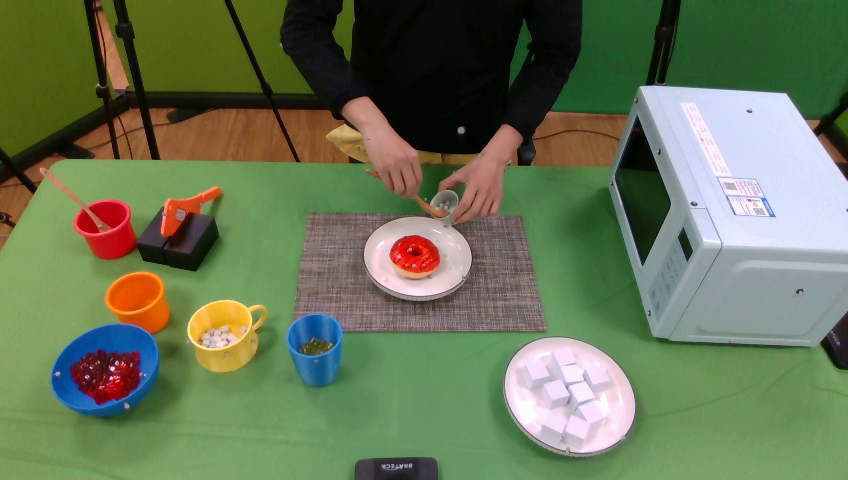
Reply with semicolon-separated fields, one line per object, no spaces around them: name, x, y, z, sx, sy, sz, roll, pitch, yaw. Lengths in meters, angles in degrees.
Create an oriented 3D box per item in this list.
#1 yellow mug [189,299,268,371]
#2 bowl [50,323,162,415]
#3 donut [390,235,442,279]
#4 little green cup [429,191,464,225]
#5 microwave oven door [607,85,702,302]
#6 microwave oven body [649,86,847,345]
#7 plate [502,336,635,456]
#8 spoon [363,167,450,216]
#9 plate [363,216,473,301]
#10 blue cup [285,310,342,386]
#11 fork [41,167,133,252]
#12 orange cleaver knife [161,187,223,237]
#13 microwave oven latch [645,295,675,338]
yellow mug;-0.316;0.148;1.002;0.131;0.064;0.099;-32;56;-31
bowl;-0.472;0.209;0.924;0.151;0.077;0.150;2;45;-2
donut;-0.016;0.032;1.135;0.099;0.048;0.098;3;44;-3
little green cup;0.044;-0.058;1.135;0.061;0.039;0.061;-12;67;29
microwave oven door;0.423;-0.094;1.141;0.039;0.245;0.353;2;46;-1
microwave oven body;0.568;-0.053;1.118;0.326;0.261;0.439;2;45;-1
plate;0.225;0.248;0.963;0.208;0.039;0.206;2;46;-2
spoon;-0.029;-0.087;1.079;0.195;0.021;0.041;31;15;-33
plate;-0.012;0.038;1.145;0.209;0.038;0.208;2;45;-2
blue cup;-0.170;0.179;0.958;0.093;0.101;0.092;2;44;-1
fork;-0.624;-0.056;1.121;0.208;0.018;0.028;49;51;-15
orange cleaver knife;-0.448;-0.058;1.181;0.012;0.077;0.211;13;17;6
microwave oven latch;0.412;0.134;1.061;0.030;0.029;0.078;3;45;0
